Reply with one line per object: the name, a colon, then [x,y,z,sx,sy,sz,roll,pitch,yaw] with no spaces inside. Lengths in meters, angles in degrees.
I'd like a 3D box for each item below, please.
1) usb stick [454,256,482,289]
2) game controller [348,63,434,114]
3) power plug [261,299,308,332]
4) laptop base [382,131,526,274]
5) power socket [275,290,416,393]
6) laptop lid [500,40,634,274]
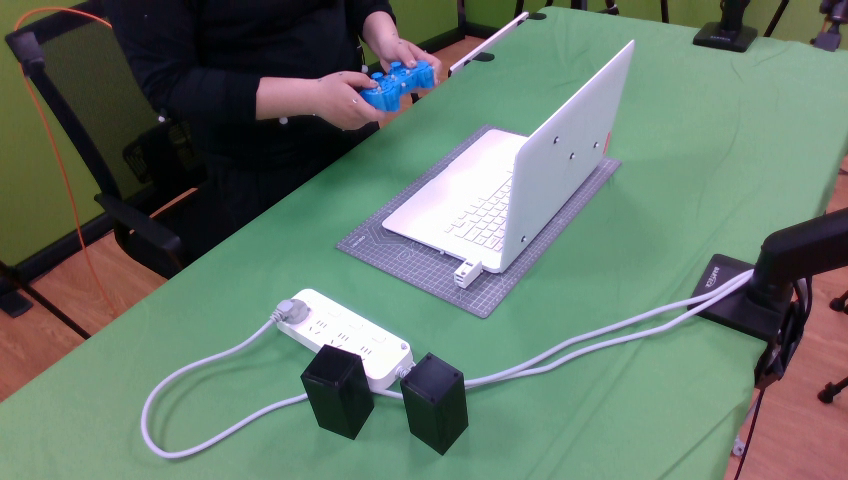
usb stick: [0.069,0.044,0.891,0.021,0.027,0.059,22,44,32]
game controller: [-0.053,-0.262,1.027,0.096,0.052,0.155,18,46,36]
power plug: [-0.193,0.109,0.830,0.073,0.053,0.035,-35,47,-23]
laptop base: [0.123,-0.081,1.049,0.233,0.023,0.355,20,47,33]
power socket: [-0.114,0.133,0.821,0.225,0.033,0.072,24,48,32]
laptop lid: [0.218,-0.128,0.906,0.013,0.242,0.358,28,50,25]
